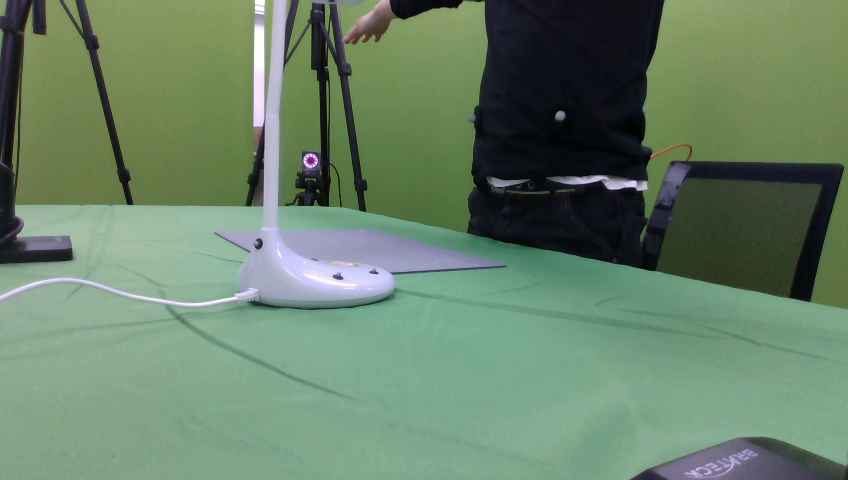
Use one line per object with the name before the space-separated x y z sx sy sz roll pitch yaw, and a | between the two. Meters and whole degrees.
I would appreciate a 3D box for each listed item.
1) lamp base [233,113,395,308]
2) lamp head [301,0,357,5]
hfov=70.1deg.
lamp base | -0.113 -0.033 0.600 0.160 0.180 0.180 6 11 28
lamp head | -0.096 -0.314 0.610 0.112 0.123 0.112 -4 50 5
